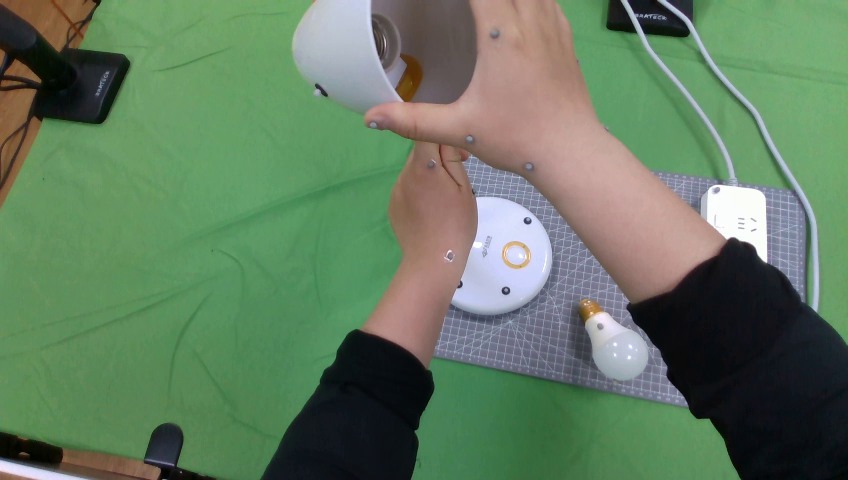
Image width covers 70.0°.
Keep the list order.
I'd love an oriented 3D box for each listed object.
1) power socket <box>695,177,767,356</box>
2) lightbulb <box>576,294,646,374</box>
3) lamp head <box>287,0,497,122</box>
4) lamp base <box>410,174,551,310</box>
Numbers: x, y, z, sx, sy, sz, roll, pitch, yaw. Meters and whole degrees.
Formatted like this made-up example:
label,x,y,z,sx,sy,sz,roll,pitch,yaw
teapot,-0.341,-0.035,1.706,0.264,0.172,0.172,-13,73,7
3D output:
label,x,y,z,sx,sy,sz,roll,pitch,yaw
power socket,0.369,0.026,0.731,0.072,0.033,0.225,8,69,7
lightbulb,0.212,0.106,0.704,0.059,0.060,0.106,-26,53,-5
lamp head,-0.028,-0.128,0.394,0.122,0.113,0.112,5,62,50
lamp base,0.059,-0.018,0.695,0.179,0.181,0.159,3,68,9
